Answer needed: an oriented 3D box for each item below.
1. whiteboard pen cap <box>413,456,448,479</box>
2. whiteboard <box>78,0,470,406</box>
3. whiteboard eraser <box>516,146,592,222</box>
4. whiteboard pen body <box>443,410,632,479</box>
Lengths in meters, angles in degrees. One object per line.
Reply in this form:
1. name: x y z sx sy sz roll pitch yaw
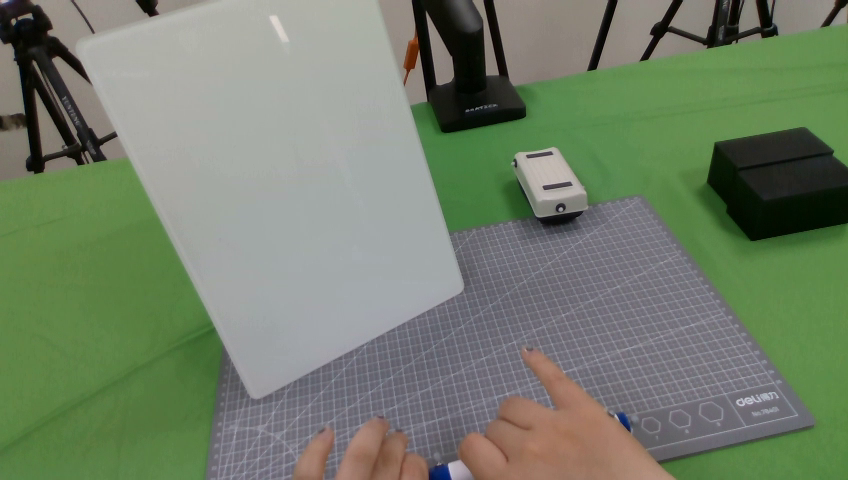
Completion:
1. whiteboard pen cap: 0.000 0.150 0.369 0.018 0.018 0.033 20 63 30
2. whiteboard: -0.119 -0.055 0.543 0.217 0.307 0.142 -26 23 -18
3. whiteboard eraser: 0.140 -0.062 0.664 0.055 0.042 0.111 -12 36 0
4. whiteboard pen body: 0.060 0.132 0.373 0.141 0.017 0.017 -18 40 0
